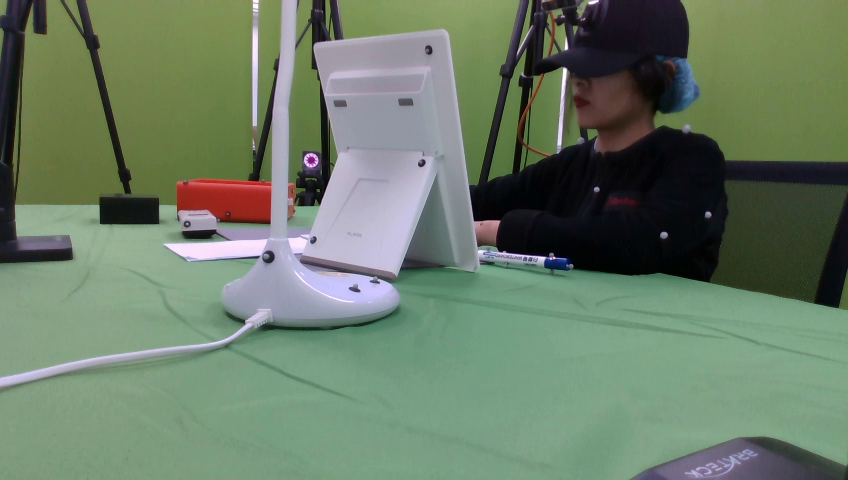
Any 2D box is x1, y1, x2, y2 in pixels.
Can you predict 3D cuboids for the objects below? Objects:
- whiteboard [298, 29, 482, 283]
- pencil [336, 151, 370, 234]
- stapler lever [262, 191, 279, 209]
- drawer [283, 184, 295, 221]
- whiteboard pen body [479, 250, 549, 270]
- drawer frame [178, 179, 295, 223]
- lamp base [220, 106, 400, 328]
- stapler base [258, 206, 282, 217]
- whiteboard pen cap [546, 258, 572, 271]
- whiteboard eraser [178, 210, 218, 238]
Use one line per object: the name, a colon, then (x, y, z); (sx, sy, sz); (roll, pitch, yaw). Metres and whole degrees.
whiteboard: (-0.075, -0.082, 0.741); (0.216, 0.305, 0.144); (9, 29, 37)
pencil: (-0.134, -0.091, 1.133); (0.012, 0.194, 0.012); (12, -29, 7)
stapler lever: (-0.329, -0.086, 1.306); (0.027, 0.040, 0.118); (9, 3, -9)
drawer: (-0.394, -0.087, 1.317); (0.212, 0.073, 0.194); (1, 8, -7)
whiteboard pen body: (0.130, 0.028, 0.827); (0.140, 0.017, 0.017); (7, 9, 38)
drawer frame: (-0.397, -0.088, 1.315); (0.214, 0.082, 0.201); (1, 8, -7)
lamp base: (-0.101, -0.023, 0.531); (0.160, 0.180, 0.179); (4, 10, 10)
stapler base: (-0.331, -0.065, 1.305); (0.041, 0.024, 0.130); (9, -2, -9)
whiteboard pen cap: (0.175, 0.032, 0.790); (0.033, 0.018, 0.018); (3, 7, 37)
whiteboard eraser: (-0.380, -0.027, 1.014); (0.056, 0.042, 0.112); (0, 8, -25)
